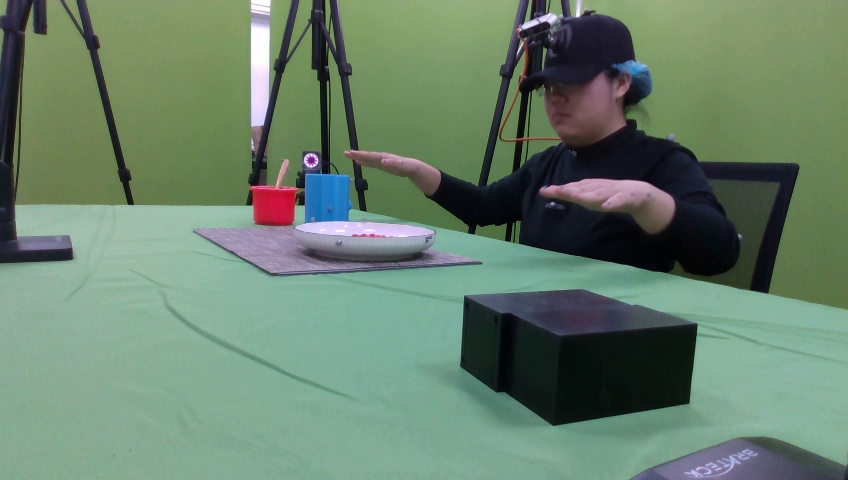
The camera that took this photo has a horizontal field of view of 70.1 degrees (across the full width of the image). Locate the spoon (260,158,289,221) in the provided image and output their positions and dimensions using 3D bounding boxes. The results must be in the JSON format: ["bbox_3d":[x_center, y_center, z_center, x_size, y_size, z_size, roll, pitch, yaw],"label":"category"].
[{"bbox_3d":[-0.308,-0.110,1.277,0.041,0.022,0.193,-1,51,6],"label":"spoon"}]

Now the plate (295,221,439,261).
[{"bbox_3d":[-0.083,0.001,0.885,0.208,0.039,0.207,2,7,0],"label":"plate"}]

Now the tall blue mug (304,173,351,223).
[{"bbox_3d":[-0.178,-0.063,1.062,0.078,0.108,0.106,-4,10,-38],"label":"tall blue mug"}]
